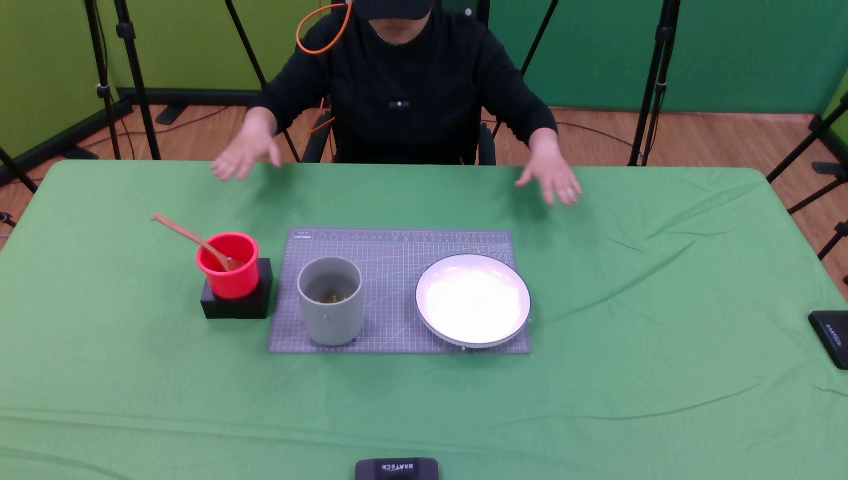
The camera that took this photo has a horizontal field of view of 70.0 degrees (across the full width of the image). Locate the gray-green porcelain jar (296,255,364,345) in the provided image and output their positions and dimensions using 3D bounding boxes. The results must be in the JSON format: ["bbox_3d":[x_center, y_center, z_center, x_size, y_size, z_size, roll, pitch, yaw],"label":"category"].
[{"bbox_3d":[-0.154,0.105,1.008,0.106,0.127,0.105,2,46,-2],"label":"gray-green porcelain jar"}]

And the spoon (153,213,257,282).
[{"bbox_3d":[-0.360,0.012,1.005,0.195,0.021,0.041,41,37,-26],"label":"spoon"}]

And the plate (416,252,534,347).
[{"bbox_3d":[0.090,0.109,1.084,0.208,0.039,0.206,2,46,-2],"label":"plate"}]
